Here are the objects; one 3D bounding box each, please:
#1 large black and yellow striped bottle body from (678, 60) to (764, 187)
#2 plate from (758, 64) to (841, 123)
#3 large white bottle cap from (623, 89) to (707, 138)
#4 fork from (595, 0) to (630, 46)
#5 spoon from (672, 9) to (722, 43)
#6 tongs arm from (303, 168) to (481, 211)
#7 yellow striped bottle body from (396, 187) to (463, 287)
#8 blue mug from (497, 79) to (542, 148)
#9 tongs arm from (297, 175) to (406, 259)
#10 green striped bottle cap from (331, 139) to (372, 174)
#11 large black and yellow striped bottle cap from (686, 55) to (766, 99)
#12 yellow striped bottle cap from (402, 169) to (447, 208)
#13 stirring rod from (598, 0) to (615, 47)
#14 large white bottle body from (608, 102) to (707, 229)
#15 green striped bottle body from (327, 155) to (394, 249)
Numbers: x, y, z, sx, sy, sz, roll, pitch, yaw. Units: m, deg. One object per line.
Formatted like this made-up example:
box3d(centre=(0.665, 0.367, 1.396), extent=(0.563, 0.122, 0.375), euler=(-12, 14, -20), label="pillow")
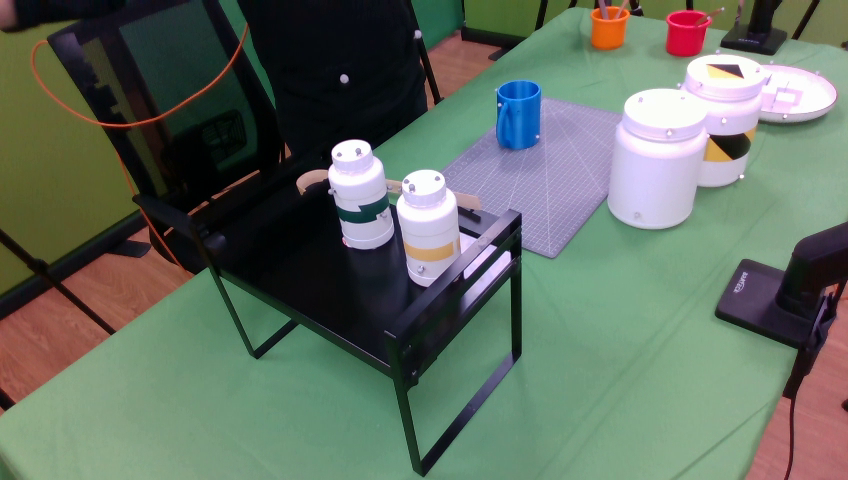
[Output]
box3d(centre=(0.482, -0.196, 1.008), extent=(0.131, 0.185, 0.130), euler=(-4, 41, 4), label="large black and yellow striped bottle body")
box3d(centre=(0.694, -0.283, 1.189), extent=(0.207, 0.039, 0.206), euler=(-4, 40, 4), label="plate")
box3d(centre=(0.352, -0.187, 0.886), extent=(0.115, 0.018, 0.114), euler=(-4, 41, 4), label="large white bottle cap")
box3d(centre=(0.480, -0.556, 1.453), extent=(0.028, 0.019, 0.207), euler=(41, 103, 40), label="fork")
box3d(centre=(0.606, -0.476, 1.345), extent=(0.042, 0.021, 0.193), euler=(-6, -3, -2), label="spoon")
box3d(centre=(-0.070, -0.086, 1.048), extent=(0.381, 0.026, 0.051), euler=(16, 46, 38), label="tongs arm")
box3d(centre=(0.006, -0.013, 0.638), extent=(0.063, 0.121, 0.062), euler=(-5, 41, 4), label="yellow striped bottle body")
box3d(centre=(0.175, -0.234, 1.156), extent=(0.081, 0.106, 0.117), euler=(24, 50, 32), label="blue mug")
box3d(centre=(-0.128, -0.043, 1.006), extent=(0.028, 0.028, 0.384), euler=(-36, 38, -20), label="tongs arm")
box3d(centre=(-0.080, -0.092, 0.665), extent=(0.044, 0.020, 0.044), euler=(-3, 41, 3), label="green striped bottle cap")
box3d(centre=(0.474, -0.258, 0.952), extent=(0.115, 0.019, 0.114), euler=(-5, 41, 5), label="large black and yellow striped bottle cap")
box3d(centre=(0.000, -0.052, 0.605), extent=(0.044, 0.019, 0.044), euler=(-5, 42, 5), label="yellow striped bottle cap")
box3d(centre=(0.437, -0.551, 1.463), extent=(0.014, 0.006, 0.175), euler=(-11, 83, 2), label="stirring rod")
box3d(centre=(0.361, -0.124, 0.941), extent=(0.130, 0.185, 0.130), euler=(-5, 41, 4), label="large white bottle body")
box3d(centre=(-0.073, -0.053, 0.699), extent=(0.063, 0.120, 0.063), euler=(-5, 41, 4), label="green striped bottle body")
